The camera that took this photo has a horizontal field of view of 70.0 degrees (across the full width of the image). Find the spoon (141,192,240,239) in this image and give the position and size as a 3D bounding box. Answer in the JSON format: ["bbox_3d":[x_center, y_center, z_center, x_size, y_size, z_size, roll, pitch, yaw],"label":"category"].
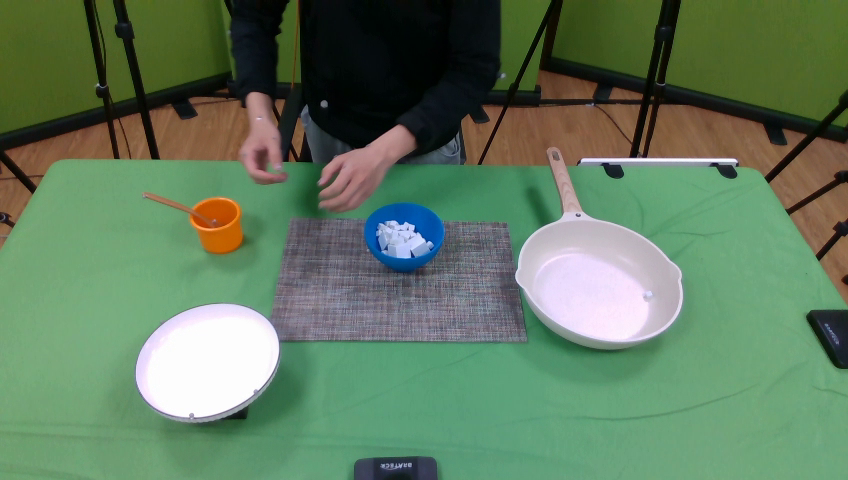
[{"bbox_3d":[-0.428,-0.048,1.122,0.021,0.195,0.041,-39,44,20],"label":"spoon"}]

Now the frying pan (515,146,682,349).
[{"bbox_3d":[0.303,-0.004,1.168,0.307,0.103,0.484,-1,55,-7],"label":"frying pan"}]

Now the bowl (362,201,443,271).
[{"bbox_3d":[-0.041,0.005,1.144,0.151,0.077,0.150,3,46,-3],"label":"bowl"}]

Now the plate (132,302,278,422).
[{"bbox_3d":[-0.325,0.186,0.916,0.208,0.039,0.206,3,44,-2],"label":"plate"}]
